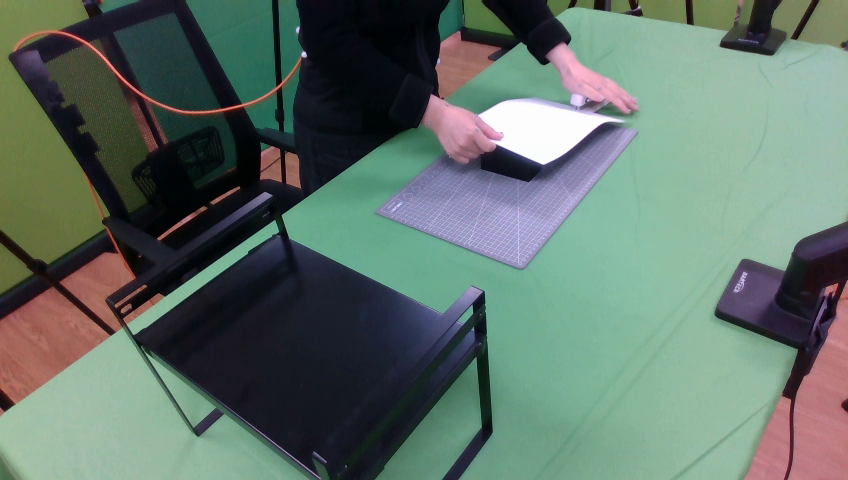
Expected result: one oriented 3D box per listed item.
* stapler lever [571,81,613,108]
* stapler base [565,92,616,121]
[{"bbox_3d":[0.346,-0.306,1.240,0.118,0.040,0.026,-33,49,-30],"label":"stapler lever"},{"bbox_3d":[0.347,-0.286,1.256,0.131,0.024,0.041,-33,49,-30],"label":"stapler base"}]
